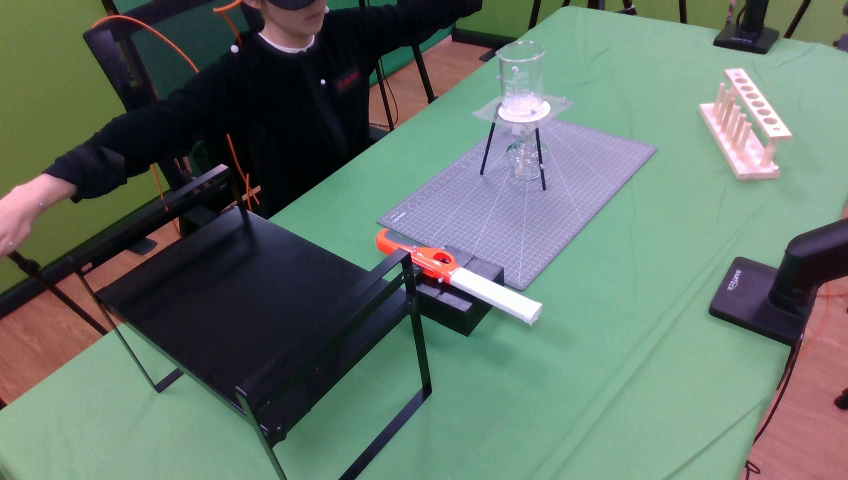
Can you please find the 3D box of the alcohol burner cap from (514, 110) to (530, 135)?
[{"bbox_3d":[0.194,-0.235,1.200,0.034,0.048,0.033,-5,42,5],"label":"alcohol burner cap"}]

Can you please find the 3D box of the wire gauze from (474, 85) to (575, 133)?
[{"bbox_3d":[0.168,-0.219,1.015,0.125,0.011,0.120,-38,45,-26],"label":"wire gauze"}]

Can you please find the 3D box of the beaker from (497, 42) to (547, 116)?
[{"bbox_3d":[0.160,-0.262,0.989,0.083,0.101,0.074,16,46,28],"label":"beaker"}]

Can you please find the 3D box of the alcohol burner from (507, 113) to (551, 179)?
[{"bbox_3d":[0.186,-0.169,1.069,0.078,0.119,0.077,-5,39,4],"label":"alcohol burner"}]

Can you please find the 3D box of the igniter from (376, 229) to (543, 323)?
[{"bbox_3d":[0.038,0.044,0.843,0.274,0.025,0.057,25,47,29],"label":"igniter"}]

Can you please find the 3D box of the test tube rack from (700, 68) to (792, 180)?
[{"bbox_3d":[0.572,-0.215,1.090,0.066,0.085,0.241,-3,41,7],"label":"test tube rack"}]

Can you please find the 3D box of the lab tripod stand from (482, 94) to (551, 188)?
[{"bbox_3d":[0.172,-0.176,1.064,0.148,0.132,0.147,-5,42,5],"label":"lab tripod stand"}]
